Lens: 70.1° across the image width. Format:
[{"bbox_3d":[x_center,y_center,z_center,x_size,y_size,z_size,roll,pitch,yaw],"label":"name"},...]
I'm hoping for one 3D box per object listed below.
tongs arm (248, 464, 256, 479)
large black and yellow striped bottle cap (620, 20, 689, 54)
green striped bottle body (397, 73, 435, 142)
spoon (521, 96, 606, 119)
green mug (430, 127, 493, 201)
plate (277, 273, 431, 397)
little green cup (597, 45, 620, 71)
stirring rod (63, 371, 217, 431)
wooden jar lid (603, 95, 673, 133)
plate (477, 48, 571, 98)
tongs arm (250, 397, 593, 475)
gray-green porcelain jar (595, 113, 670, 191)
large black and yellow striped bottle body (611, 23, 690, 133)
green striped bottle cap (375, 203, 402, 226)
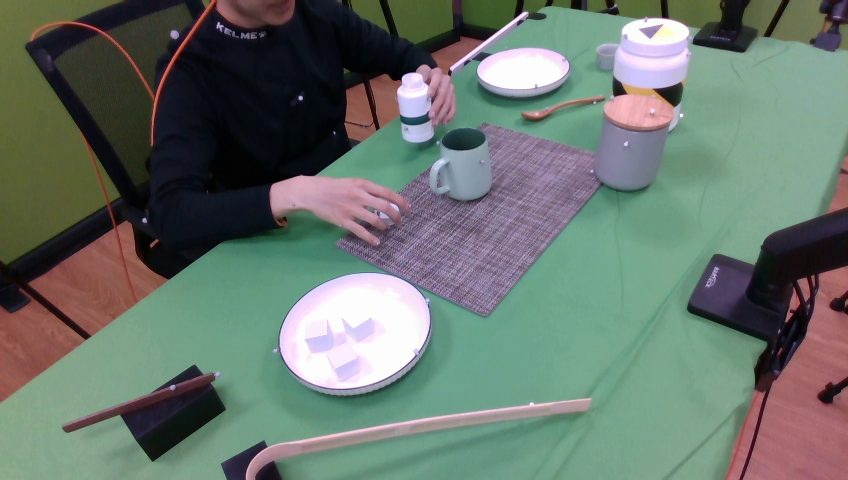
[{"bbox_3d":[0.012,0.262,0.615,0.385,0.026,0.050,2,42,-2],"label":"tongs arm"},{"bbox_3d":[0.411,-0.363,1.080,0.115,0.019,0.114,-4,42,4],"label":"large black and yellow striped bottle cap"},{"bbox_3d":[-0.015,-0.251,1.136,0.063,0.120,0.063,-4,38,4],"label":"green striped bottle body"},{"bbox_3d":[0.291,-0.277,1.249,0.194,0.022,0.041,-18,23,-11],"label":"spoon"},{"bbox_3d":[0.059,-0.122,1.034,0.126,0.105,0.091,-35,48,-28],"label":"green mug"},{"bbox_3d":[-0.091,0.129,0.821,0.207,0.039,0.206,-4,40,4],"label":"plate"},{"bbox_3d":[0.423,-0.413,1.376,0.061,0.039,0.061,-4,41,4],"label":"little green cup"},{"bbox_3d":[-0.337,0.192,0.723,0.177,0.014,0.005,-18,43,-12],"label":"stirring rod"},{"bbox_3d":[0.343,-0.200,0.974,0.108,0.021,0.108,-2,39,2],"label":"wooden jar lid"},{"bbox_3d":[0.223,-0.371,1.357,0.209,0.038,0.208,-4,41,4],"label":"plate"},{"bbox_3d":[0.008,0.212,0.675,0.389,0.028,0.028,-5,46,-11],"label":"tongs arm"},{"bbox_3d":[0.346,-0.155,1.017,0.106,0.127,0.105,-2,44,2],"label":"gray-green porcelain jar"},{"bbox_3d":[0.420,-0.299,1.132,0.131,0.185,0.130,-5,41,4],"label":"large black and yellow striped bottle body"},{"bbox_3d":[-0.061,-0.044,1.027,0.044,0.020,0.044,-13,34,10],"label":"green striped bottle cap"}]
